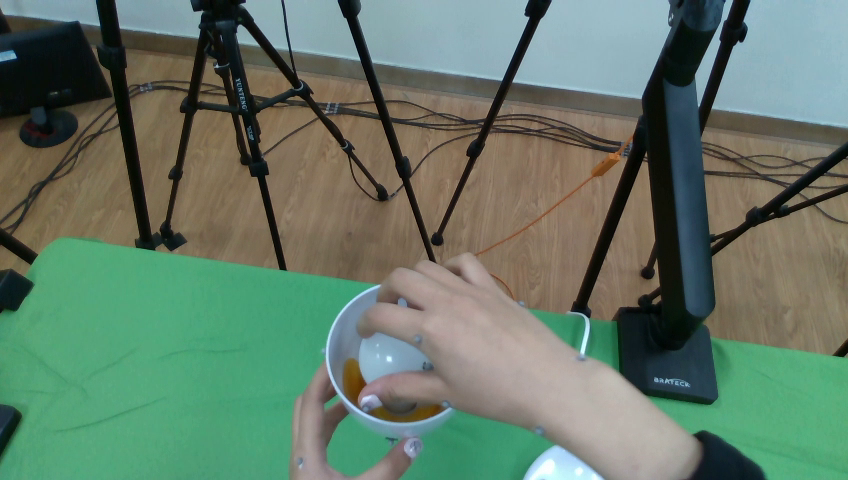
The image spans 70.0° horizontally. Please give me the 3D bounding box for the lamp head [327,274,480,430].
[{"bbox_3d":[-0.012,0.101,0.485,0.112,0.124,0.111,-1,59,3],"label":"lamp head"}]

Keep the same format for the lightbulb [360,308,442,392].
[{"bbox_3d":[-0.017,0.089,0.455,0.059,0.108,0.059,1,63,-2],"label":"lightbulb"}]

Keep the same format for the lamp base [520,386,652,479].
[{"bbox_3d":[0.187,0.238,0.623,0.161,0.182,0.177,-3,52,-5],"label":"lamp base"}]
